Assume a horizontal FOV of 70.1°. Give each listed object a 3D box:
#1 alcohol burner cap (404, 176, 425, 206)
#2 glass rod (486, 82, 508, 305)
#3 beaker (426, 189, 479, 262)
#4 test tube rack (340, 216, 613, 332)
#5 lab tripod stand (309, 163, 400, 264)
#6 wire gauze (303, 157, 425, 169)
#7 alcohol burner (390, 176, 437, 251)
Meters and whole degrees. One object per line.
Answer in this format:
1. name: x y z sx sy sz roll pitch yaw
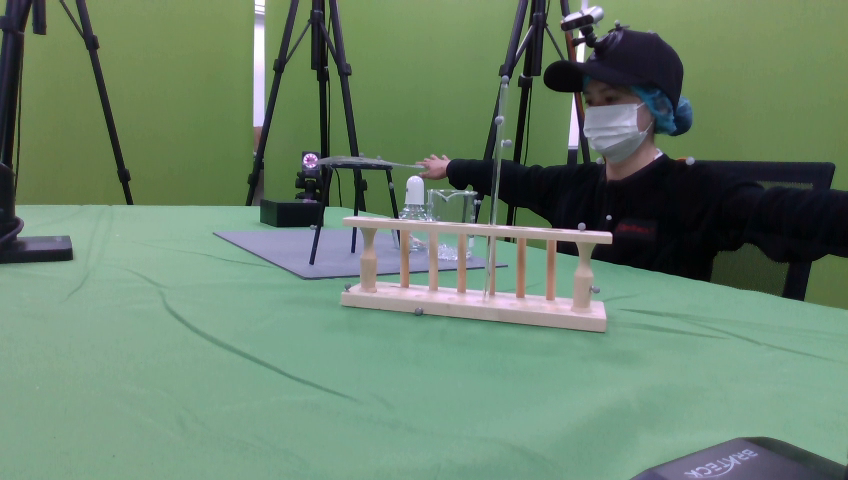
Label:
1. alcohol burner cap: -0.015 -0.077 0.951 0.034 0.048 0.034 3 4 0
2. glass rod: 0.064 -0.035 0.528 0.008 0.199 0.008 2 13 0
3. beaker: 0.039 -0.022 0.871 0.074 0.100 0.084 4 8 12
4. test tube rack: 0.048 0.026 0.568 0.242 0.085 0.067 4 8 13
5. lab tripod stand: -0.091 -0.037 0.813 0.148 0.131 0.148 1 6 0
6. wire gauze: -0.082 -0.102 0.799 0.126 0.011 0.121 -1 7 -30
7. alcohol burner: -0.016 -0.042 0.955 0.078 0.119 0.078 4 6 0
